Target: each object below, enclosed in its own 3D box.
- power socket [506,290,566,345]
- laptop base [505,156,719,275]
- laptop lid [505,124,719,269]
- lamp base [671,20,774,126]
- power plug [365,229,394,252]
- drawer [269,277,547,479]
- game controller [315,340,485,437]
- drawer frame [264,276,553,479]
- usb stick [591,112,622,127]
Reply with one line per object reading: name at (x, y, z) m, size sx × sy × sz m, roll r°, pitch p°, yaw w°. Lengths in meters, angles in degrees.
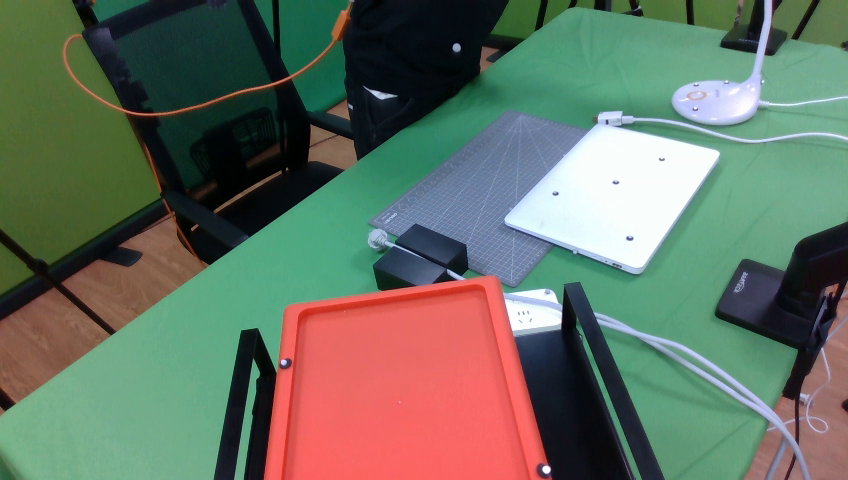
power socket at (0.081, 0.112, 0.822) m, size 0.227 × 0.033 × 0.072 m, roll -7°, pitch 40°, yaw 0°
laptop base at (0.326, -0.083, 1.028) m, size 0.233 × 0.023 × 0.355 m, roll 21°, pitch 48°, yaw 32°
laptop lid at (0.323, -0.093, 1.021) m, size 0.240 × 0.013 × 0.358 m, roll 23°, pitch 49°, yaw 32°
lamp base at (0.581, -0.332, 1.153) m, size 0.179 × 0.181 × 0.160 m, roll 2°, pitch 42°, yaw 7°
power plug at (-0.067, 0.010, 0.954) m, size 0.035 × 0.053 × 0.072 m, roll -39°, pitch 52°, yaw 2°
drawer at (-0.018, 0.137, 0.493) m, size 0.195 × 0.073 × 0.210 m, roll -7°, pitch 41°, yaw -1°
game controller at (-0.021, 0.120, 0.533) m, size 0.155 × 0.052 × 0.096 m, roll -3°, pitch 38°, yaw 1°
drawer frame at (-0.016, 0.137, 0.490) m, size 0.202 × 0.083 × 0.212 m, roll -8°, pitch 41°, yaw -2°
usb stick at (0.360, -0.238, 1.196) m, size 0.059 × 0.021 × 0.027 m, roll 5°, pitch 40°, yaw 26°
